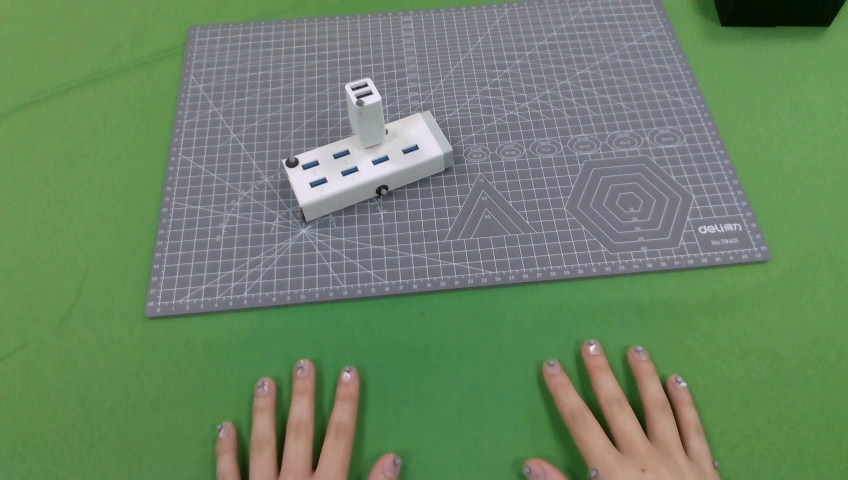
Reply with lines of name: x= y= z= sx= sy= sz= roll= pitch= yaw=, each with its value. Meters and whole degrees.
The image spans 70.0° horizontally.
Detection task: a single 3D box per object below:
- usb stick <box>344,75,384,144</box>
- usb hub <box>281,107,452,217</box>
usb stick: x=-0.044 y=-0.092 z=0.456 sx=0.021 sy=0.059 sz=0.027 roll=-21 pitch=58 yaw=-13
usb hub: x=-0.044 y=-0.063 z=0.473 sx=0.125 sy=0.025 sz=0.049 roll=-21 pitch=61 yaw=-11
